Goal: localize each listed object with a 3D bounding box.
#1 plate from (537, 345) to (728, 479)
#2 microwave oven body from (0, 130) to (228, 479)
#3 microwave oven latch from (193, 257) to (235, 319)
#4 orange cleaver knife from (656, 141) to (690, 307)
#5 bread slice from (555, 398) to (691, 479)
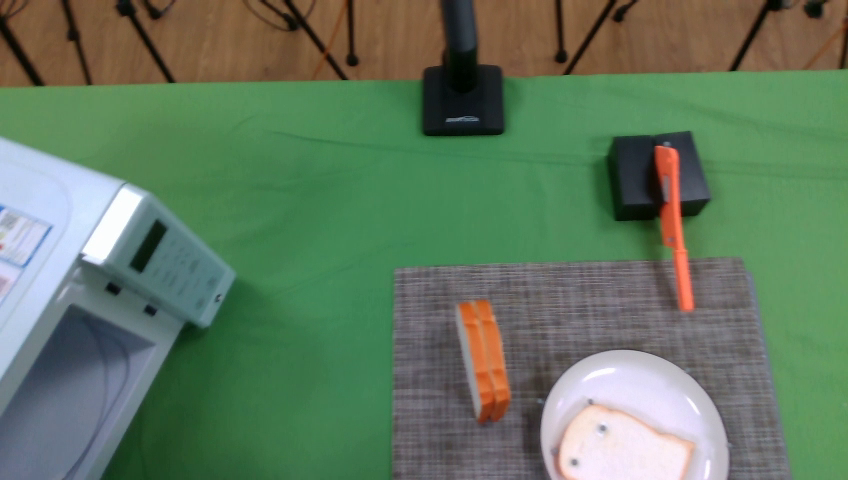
[{"bbox_3d":[0.231,0.225,0.687,0.207,0.039,0.206,-1,68,3],"label":"plate"},{"bbox_3d":[-0.480,0.127,0.650,0.325,0.262,0.439,20,72,10],"label":"microwave oven body"},{"bbox_3d":[-0.270,0.058,0.769,0.030,0.030,0.079,21,72,11],"label":"microwave oven latch"},{"bbox_3d":[0.310,-0.023,0.760,0.012,0.077,0.211,-5,89,4],"label":"orange cleaver knife"},{"bbox_3d":[0.216,0.242,0.679,0.134,0.018,0.106,21,68,14],"label":"bread slice"}]
